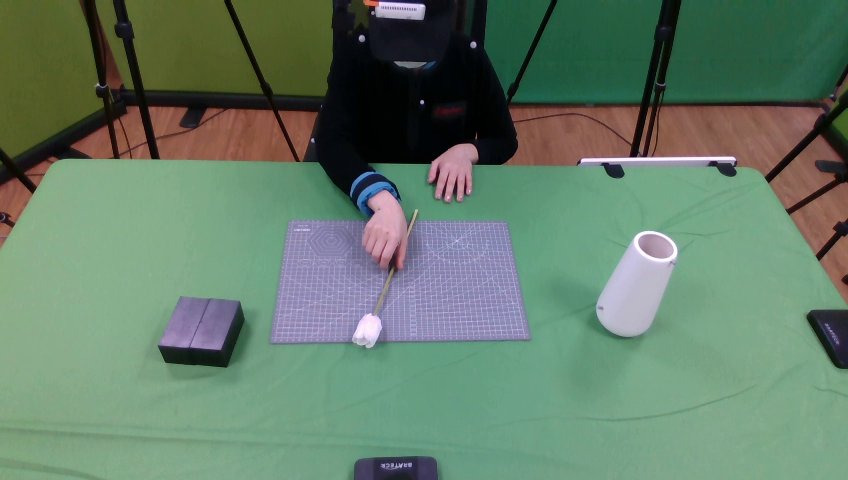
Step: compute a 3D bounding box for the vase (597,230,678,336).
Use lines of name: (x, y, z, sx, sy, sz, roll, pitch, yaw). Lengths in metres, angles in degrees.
vase: (0.360, 0.077, 1.026, 0.098, 0.201, 0.097, 1, 47, -1)

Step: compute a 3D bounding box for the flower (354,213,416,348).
flower: (-0.060, 0.058, 1.139, 0.044, 0.038, 0.360, -20, 31, 29)
